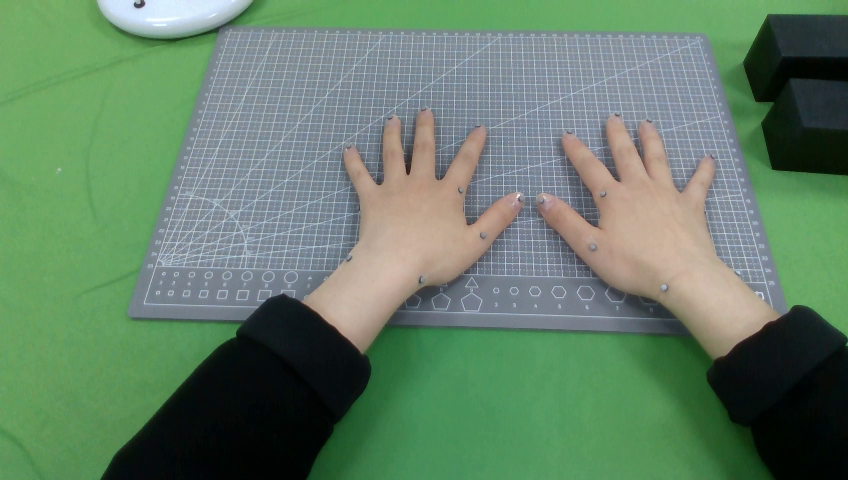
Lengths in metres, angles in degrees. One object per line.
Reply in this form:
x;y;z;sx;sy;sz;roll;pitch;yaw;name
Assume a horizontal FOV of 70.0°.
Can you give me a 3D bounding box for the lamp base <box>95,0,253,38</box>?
-0.248;-0.303;0.532;0.160;0.182;0.177;-35;61;-19;lamp base
